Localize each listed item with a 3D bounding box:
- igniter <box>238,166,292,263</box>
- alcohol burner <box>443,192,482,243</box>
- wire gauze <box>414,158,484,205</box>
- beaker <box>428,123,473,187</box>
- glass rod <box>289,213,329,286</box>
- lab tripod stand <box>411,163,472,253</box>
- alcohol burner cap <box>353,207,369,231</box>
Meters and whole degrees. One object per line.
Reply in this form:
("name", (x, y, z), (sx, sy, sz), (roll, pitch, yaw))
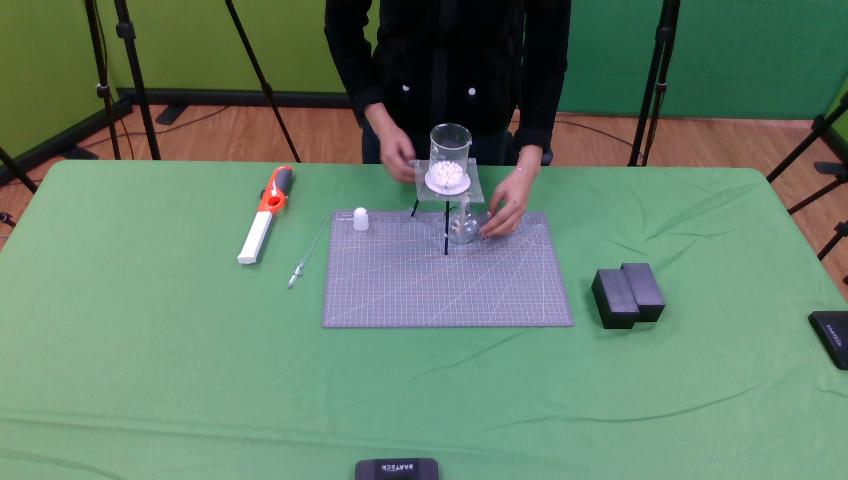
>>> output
("igniter", (-0.318, -0.060, 1.229), (0.057, 0.025, 0.275), (-2, 45, 10))
("alcohol burner", (0.076, -0.051, 1.185), (0.078, 0.120, 0.077), (2, 48, -2))
("wire gauze", (0.045, -0.113, 1.137), (0.125, 0.011, 0.120), (2, 48, -6))
("beaker", (0.044, -0.154, 1.109), (0.074, 0.101, 0.083), (-25, 54, -25))
("glass rod", (-0.221, 0.014, 1.179), (0.008, 0.008, 0.199), (12, 46, 8))
("lab tripod stand", (0.043, -0.070, 1.187), (0.148, 0.132, 0.147), (3, 47, -3))
("alcohol burner cap", (-0.127, -0.046, 1.215), (0.034, 0.048, 0.033), (3, 48, -3))
